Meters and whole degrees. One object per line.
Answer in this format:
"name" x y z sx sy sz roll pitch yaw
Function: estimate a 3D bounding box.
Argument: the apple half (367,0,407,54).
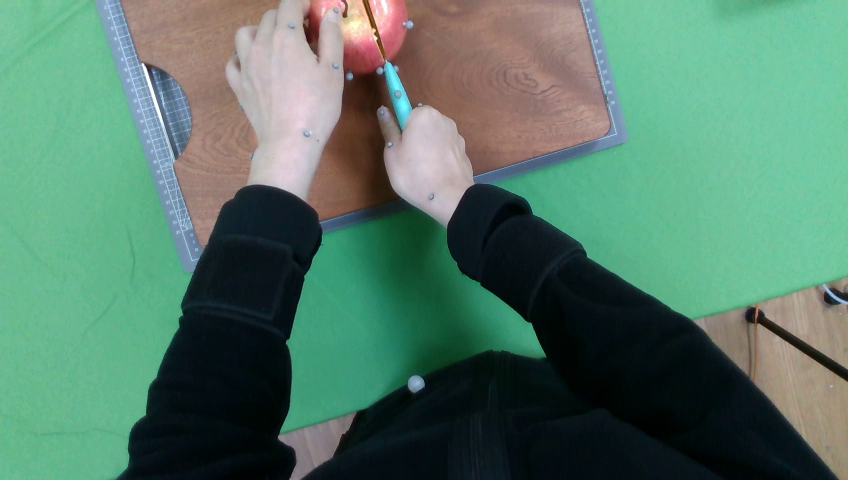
"apple half" -0.032 -0.199 0.515 0.033 0.081 0.081 -20 95 0

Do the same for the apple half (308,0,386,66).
"apple half" -0.069 -0.185 0.515 0.053 0.074 0.081 -20 98 7

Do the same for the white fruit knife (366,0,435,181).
"white fruit knife" -0.031 -0.149 0.522 0.016 0.027 0.208 -21 98 -3
